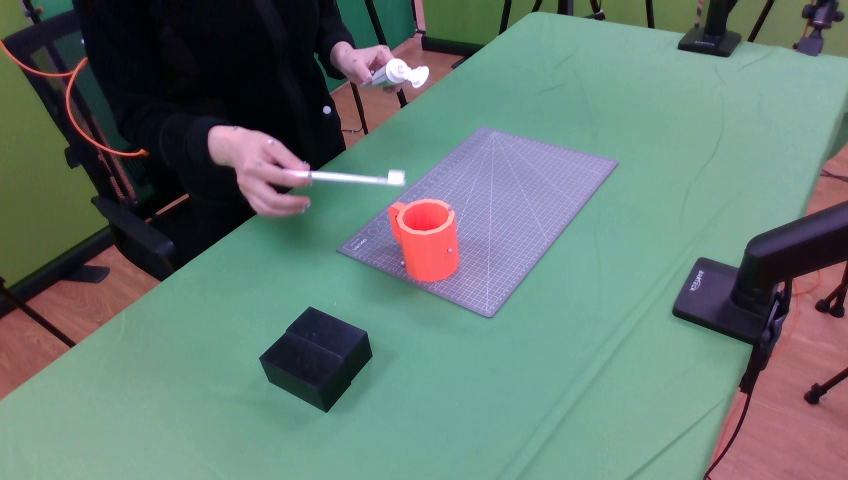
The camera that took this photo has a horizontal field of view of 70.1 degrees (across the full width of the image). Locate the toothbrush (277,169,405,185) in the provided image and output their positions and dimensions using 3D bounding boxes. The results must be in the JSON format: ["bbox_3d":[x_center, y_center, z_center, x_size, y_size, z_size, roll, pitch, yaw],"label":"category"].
[{"bbox_3d":[-0.105,-0.080,0.741,0.181,0.016,0.014,6,10,23],"label":"toothbrush"}]

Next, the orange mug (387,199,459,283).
[{"bbox_3d":[-0.006,-0.007,0.922,0.125,0.101,0.084,32,54,32],"label":"orange mug"}]

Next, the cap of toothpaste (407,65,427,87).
[{"bbox_3d":[-0.010,-0.242,0.885,0.037,0.011,0.037,-24,54,39],"label":"cap of toothpaste"}]

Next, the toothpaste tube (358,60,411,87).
[{"bbox_3d":[-0.058,-0.257,0.960,0.055,0.034,0.164,-1,5,-21],"label":"toothpaste tube"}]
